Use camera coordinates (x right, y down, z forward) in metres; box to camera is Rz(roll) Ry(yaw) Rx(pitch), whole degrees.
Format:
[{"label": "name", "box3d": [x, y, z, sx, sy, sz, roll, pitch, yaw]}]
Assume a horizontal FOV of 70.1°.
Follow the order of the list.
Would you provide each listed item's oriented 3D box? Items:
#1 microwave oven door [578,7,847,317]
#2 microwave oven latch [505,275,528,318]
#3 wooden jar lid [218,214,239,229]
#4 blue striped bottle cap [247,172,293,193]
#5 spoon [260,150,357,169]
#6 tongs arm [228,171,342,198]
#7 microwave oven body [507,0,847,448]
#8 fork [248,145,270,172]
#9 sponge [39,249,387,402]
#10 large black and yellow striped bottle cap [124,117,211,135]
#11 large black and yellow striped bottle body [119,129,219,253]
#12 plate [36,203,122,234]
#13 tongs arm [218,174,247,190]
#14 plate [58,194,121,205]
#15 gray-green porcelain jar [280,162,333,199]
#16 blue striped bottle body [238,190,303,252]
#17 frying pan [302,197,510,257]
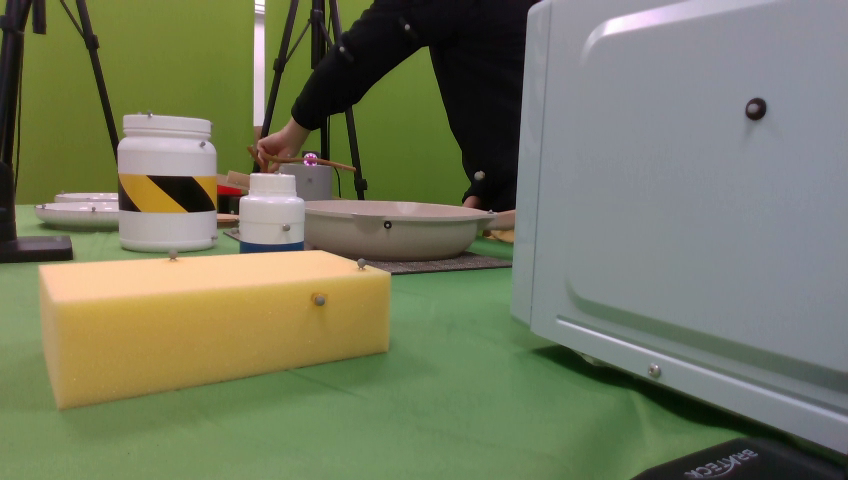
[{"label": "microwave oven door", "box3d": [0.294, -0.067, 0.570, 0.358, 0.243, 0.039, -3, 9, -31]}, {"label": "microwave oven latch", "box3d": [0.100, 0.041, 0.472, 0.079, 0.029, 0.030, -2, 8, -29]}, {"label": "wooden jar lid", "box3d": [-0.404, -0.037, 1.169, 0.108, 0.020, 0.108, 3, 7, 0]}, {"label": "blue striped bottle cap", "box3d": [-0.152, -0.057, 0.598, 0.044, 0.020, 0.044, 3, 7, 0]}, {"label": "spoon", "box3d": [-0.231, -0.162, 1.221, 0.194, 0.021, 0.041, 3, 3, -16]}, {"label": "tongs arm", "box3d": [-0.267, -0.103, 1.378, 0.387, 0.026, 0.050, 11, -3, -40]}, {"label": "microwave oven body", "box3d": [0.331, -0.042, 0.425, 0.444, 0.260, 0.324, -2, 8, -31]}, {"label": "fork", "box3d": [-0.378, -0.153, 1.479, 0.028, 0.208, 0.018, 10, 51, 30]}, {"label": "sponge", "box3d": [-0.142, 0.047, 0.420, 0.208, 0.061, 0.117, -3, 8, -36]}, {"label": "large black and yellow striped bottle cap", "box3d": [-0.366, -0.163, 0.866, 0.115, 0.019, 0.115, 3, 7, 0]}, {"label": "large black and yellow striped bottle body", "box3d": [-0.367, -0.079, 0.876, 0.131, 0.184, 0.130, 1, 7, 0]}, {"label": "plate", "box3d": [-0.571, -0.040, 1.083, 0.208, 0.039, 0.207, 2, 8, 0]}, {"label": "tongs arm", "box3d": [-0.315, -0.110, 1.448, 0.389, 0.027, 0.028, 11, -7, -26]}, {"label": "plate", "box3d": [-0.671, -0.074, 1.310, 0.209, 0.038, 0.209, 2, 8, 0]}, {"label": "gray-green porcelain jar", "box3d": [-0.238, -0.092, 1.221, 0.106, 0.126, 0.106, 2, 7, 0]}, {"label": "blue striped bottle body", "box3d": [-0.153, -0.007, 0.606, 0.063, 0.120, 0.063, 2, 7, 0]}, {"label": "frying pan", "box3d": [0.050, -0.035, 0.915, 0.487, 0.102, 0.307, -5, 7, 11]}]
